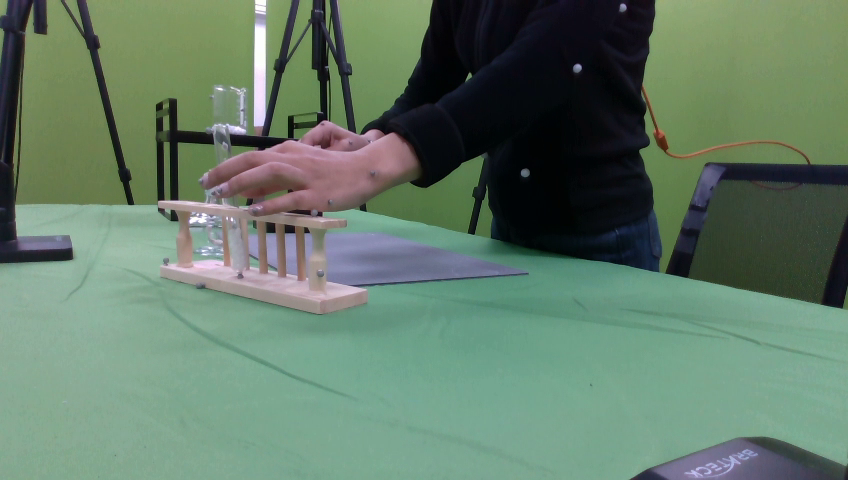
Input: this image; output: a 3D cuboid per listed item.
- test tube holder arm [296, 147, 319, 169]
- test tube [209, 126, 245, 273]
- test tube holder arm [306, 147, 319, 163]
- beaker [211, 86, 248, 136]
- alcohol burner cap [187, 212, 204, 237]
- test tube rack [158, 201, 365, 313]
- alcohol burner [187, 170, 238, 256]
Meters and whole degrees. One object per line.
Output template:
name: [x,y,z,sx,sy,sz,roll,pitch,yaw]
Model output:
test tube holder arm: [-0.157,-0.111,0.823,0.013,0.015,0.178,2,2,-5]
test tube: [-0.199,-0.040,0.613,0.017,0.150,0.017,-6,7,1]
test tube holder arm: [-0.145,-0.109,0.780,0.010,0.015,0.087,1,2,-16]
beaker: [-0.414,-0.274,1.297,0.074,0.100,0.083,-5,11,-44]
alcohol burner cap: [-0.390,-0.029,1.025,0.034,0.048,0.034,2,9,0]
test tube rack: [-0.174,0.009,0.624,0.241,0.085,0.067,7,9,34]
alcohol burner: [-0.297,-0.038,0.850,0.078,0.119,0.078,2,6,0]
